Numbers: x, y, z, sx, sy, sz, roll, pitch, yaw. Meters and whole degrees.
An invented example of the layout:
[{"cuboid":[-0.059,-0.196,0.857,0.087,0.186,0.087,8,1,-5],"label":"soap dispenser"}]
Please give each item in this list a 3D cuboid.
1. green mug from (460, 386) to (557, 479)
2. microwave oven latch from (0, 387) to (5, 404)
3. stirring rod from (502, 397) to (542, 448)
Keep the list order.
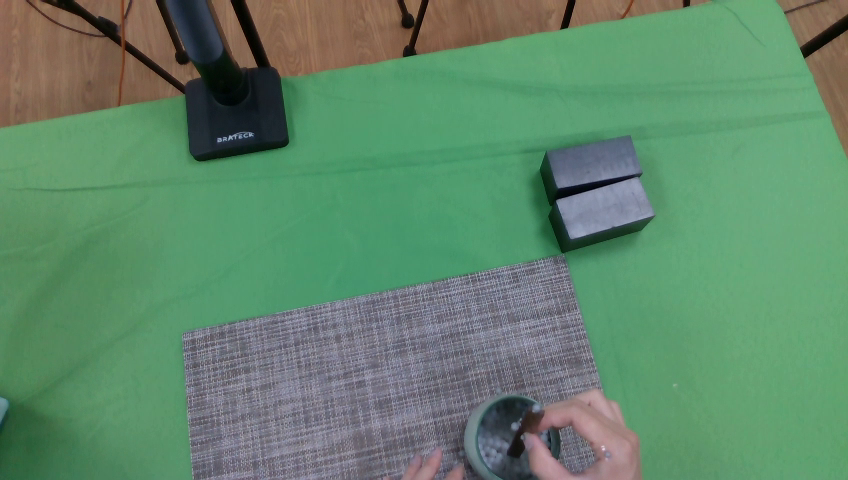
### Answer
[{"cuboid":[0.092,0.204,0.598,0.092,0.105,0.124,-28,74,-8],"label":"green mug"},{"cuboid":[-0.472,0.188,0.633,0.030,0.029,0.079,18,75,6],"label":"microwave oven latch"},{"cuboid":[0.083,0.163,0.532,0.014,0.177,0.006,14,62,8],"label":"stirring rod"}]
